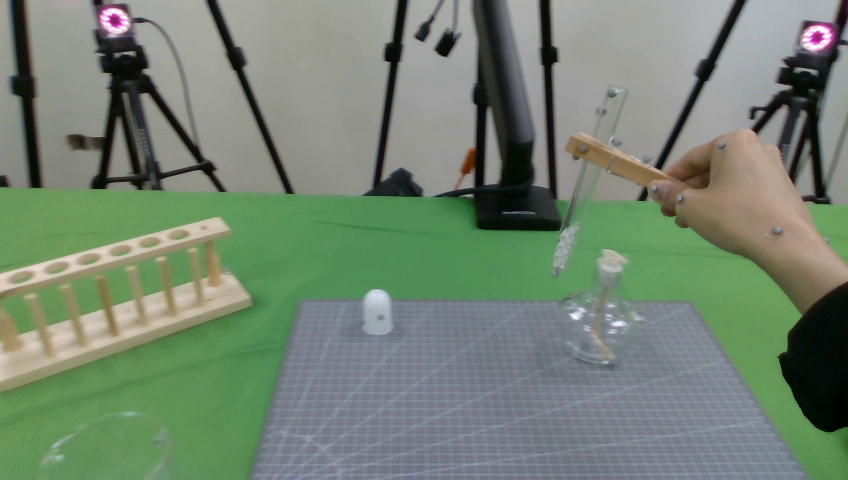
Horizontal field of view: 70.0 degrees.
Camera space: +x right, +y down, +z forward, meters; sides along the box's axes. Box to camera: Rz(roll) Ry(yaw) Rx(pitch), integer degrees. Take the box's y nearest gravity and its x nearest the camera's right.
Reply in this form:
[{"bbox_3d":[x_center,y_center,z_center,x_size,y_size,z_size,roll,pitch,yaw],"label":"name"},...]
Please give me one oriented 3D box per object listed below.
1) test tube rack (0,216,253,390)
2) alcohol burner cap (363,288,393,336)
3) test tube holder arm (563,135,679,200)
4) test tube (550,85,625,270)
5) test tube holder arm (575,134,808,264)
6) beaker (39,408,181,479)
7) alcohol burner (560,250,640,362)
[{"bbox_3d":[-0.307,0.055,0.615,0.243,0.086,0.066,-18,36,-30],"label":"test tube rack"},{"bbox_3d":[-0.049,0.073,0.635,0.034,0.048,0.033,1,30,0],"label":"alcohol burner cap"},{"bbox_3d":[0.145,-0.054,0.448,0.087,0.015,0.010,29,30,20],"label":"test tube holder arm"},{"bbox_3d":[0.125,-0.044,0.469,0.017,0.151,0.017,11,23,-4],"label":"test tube"},{"bbox_3d":[0.183,-0.034,0.434,0.177,0.015,0.013,33,32,26],"label":"test tube holder arm"},{"bbox_3d":[-0.201,0.174,0.403,0.084,0.101,0.073,4,31,6],"label":"beaker"},{"bbox_3d":[0.176,0.061,0.595,0.078,0.120,0.077,3,31,-1],"label":"alcohol burner"}]
